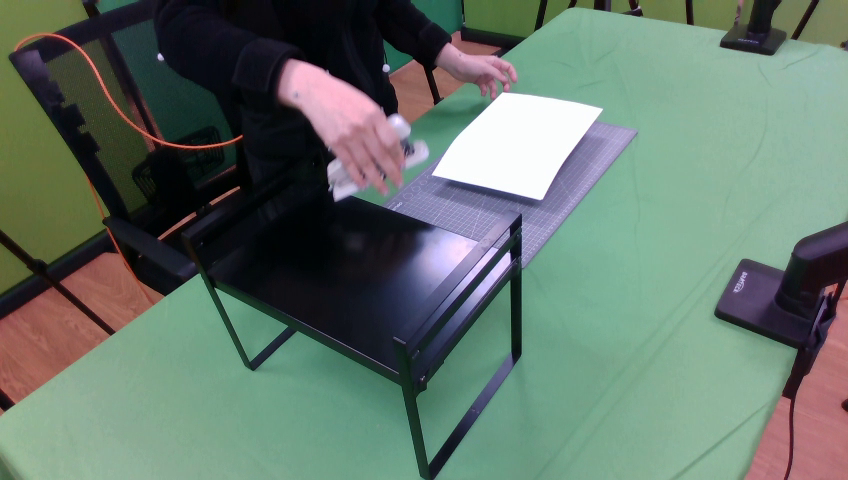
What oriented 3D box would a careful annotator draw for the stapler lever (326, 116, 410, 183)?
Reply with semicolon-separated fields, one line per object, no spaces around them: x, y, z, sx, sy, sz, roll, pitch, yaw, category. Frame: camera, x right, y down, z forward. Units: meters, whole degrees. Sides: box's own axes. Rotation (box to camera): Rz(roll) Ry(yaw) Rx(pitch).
-0.071;-0.112;0.738;0.118;0.040;0.026;-26;27;4;stapler lever

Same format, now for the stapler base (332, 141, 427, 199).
-0.060;-0.094;0.751;0.130;0.024;0.041;-27;27;5;stapler base
